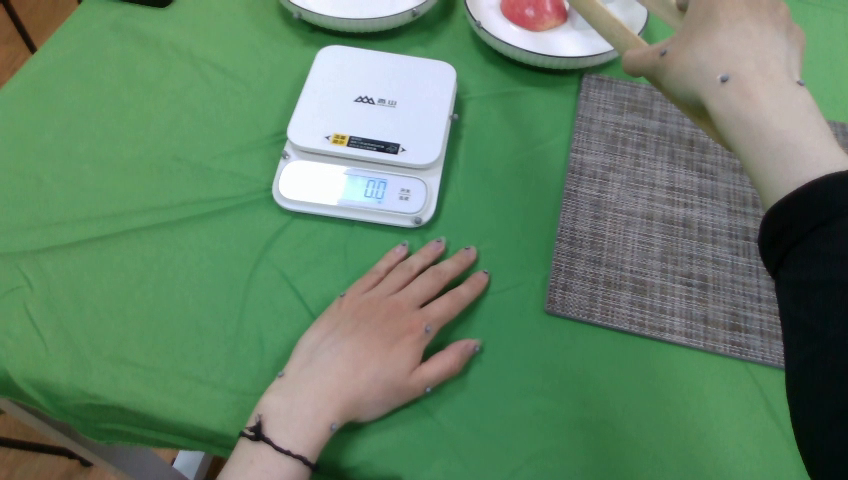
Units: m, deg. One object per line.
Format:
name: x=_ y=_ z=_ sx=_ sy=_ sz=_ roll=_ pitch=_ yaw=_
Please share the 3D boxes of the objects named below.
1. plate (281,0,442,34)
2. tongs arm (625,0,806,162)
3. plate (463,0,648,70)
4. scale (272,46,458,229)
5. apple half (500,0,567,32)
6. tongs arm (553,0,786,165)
plate: x=-0.072 y=-0.307 z=0.713 sx=0.208 sy=0.039 sz=0.205 roll=1 pitch=56 yaw=-1
tongs arm: x=0.180 y=-0.197 z=0.522 sx=0.051 sy=0.027 sz=0.380 roll=-23 pitch=51 yaw=-11
plate: x=0.148 y=-0.261 z=0.692 sx=0.209 sy=0.038 sz=0.207 roll=1 pitch=56 yaw=-2
scale: x=-0.051 y=-0.105 z=0.581 sx=0.148 sy=0.032 sz=0.199 roll=8 pitch=57 yaw=3
apple half: x=0.130 y=-0.275 z=0.693 sx=0.081 sy=0.033 sz=0.080 roll=0 pitch=53 yaw=0
tongs arm: x=0.155 y=-0.187 z=0.518 sx=0.028 sy=0.028 sz=0.383 roll=-18 pitch=51 yaw=-12
